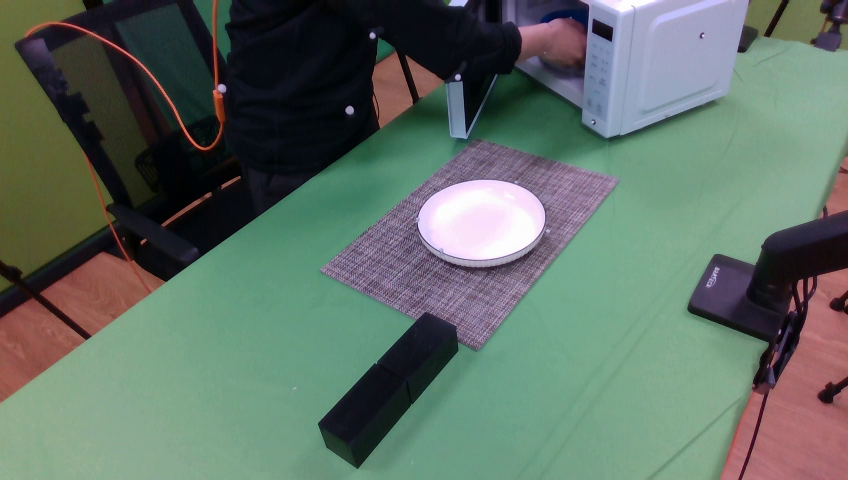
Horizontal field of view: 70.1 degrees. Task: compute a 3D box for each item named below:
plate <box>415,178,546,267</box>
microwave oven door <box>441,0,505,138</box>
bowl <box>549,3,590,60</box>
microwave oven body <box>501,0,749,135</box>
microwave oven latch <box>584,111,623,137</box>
[{"bbox_3d":[0.091,-0.026,0.970,0.207,0.039,0.206,-4,41,4],"label":"plate"},{"bbox_3d":[0.108,-0.405,1.230,0.039,0.245,0.355,7,43,17],"label":"microwave oven door"},{"bbox_3d":[0.336,-0.434,1.278,0.151,0.077,0.150,-1,43,2],"label":"bowl"},{"bbox_3d":[0.382,-0.444,1.246,0.327,0.261,0.437,-22,42,-16],"label":"microwave oven body"},{"bbox_3d":[0.337,-0.222,1.142,0.030,0.029,0.078,-21,42,-14],"label":"microwave oven latch"}]
